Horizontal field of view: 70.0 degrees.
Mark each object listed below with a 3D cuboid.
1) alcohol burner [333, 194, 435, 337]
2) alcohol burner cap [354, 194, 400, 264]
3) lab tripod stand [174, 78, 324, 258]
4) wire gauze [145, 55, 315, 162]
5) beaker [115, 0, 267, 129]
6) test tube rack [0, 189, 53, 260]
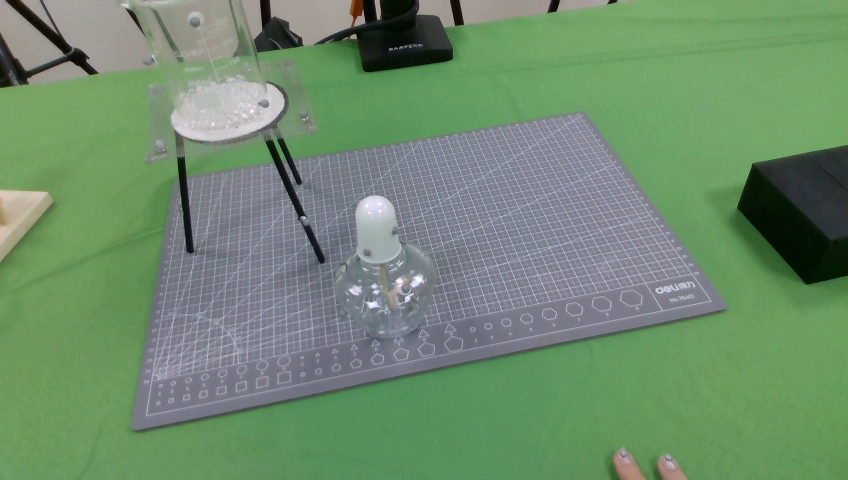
[{"bbox_3d":[-0.031,0.016,0.448,0.078,0.120,0.077,-3,42,3],"label":"alcohol burner"},{"bbox_3d":[-0.034,-0.009,0.422,0.034,0.048,0.033,-1,41,1],"label":"alcohol burner cap"},{"bbox_3d":[-0.150,-0.057,0.520,0.148,0.133,0.147,-3,46,3],"label":"lab tripod stand"},{"bbox_3d":[-0.155,-0.104,0.475,0.125,0.011,0.120,-16,43,-7],"label":"wire gauze"},{"bbox_3d":[-0.162,-0.139,0.440,0.084,0.101,0.073,-15,44,-8],"label":"beaker"},{"bbox_3d":[-0.434,0.010,0.514,0.066,0.086,0.240,3,44,8],"label":"test tube rack"}]
